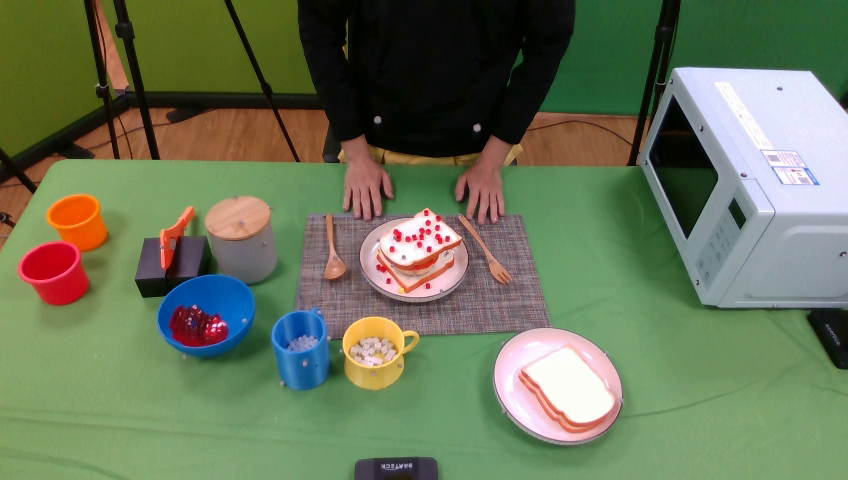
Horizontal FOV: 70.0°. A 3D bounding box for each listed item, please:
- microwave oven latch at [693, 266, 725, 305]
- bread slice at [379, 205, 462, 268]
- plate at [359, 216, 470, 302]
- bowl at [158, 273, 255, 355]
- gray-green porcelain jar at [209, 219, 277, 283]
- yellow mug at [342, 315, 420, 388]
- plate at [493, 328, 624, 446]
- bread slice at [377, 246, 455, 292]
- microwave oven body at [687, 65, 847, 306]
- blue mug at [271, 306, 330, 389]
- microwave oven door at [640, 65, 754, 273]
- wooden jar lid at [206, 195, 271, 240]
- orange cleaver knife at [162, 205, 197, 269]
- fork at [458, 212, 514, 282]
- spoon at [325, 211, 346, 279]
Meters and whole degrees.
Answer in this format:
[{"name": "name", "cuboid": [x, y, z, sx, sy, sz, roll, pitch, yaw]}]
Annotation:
[{"name": "microwave oven latch", "cuboid": [0.523, 0.081, 1.115, 0.030, 0.029, 0.078, 3, 46, 0]}, {"name": "bread slice", "cuboid": [-0.012, -0.001, 1.097, 0.134, 0.018, 0.106, -33, 51, -23]}, {"name": "plate", "cuboid": [-0.019, 0.038, 1.140, 0.209, 0.038, 0.208, 2, 46, -2]}, {"name": "bowl", "cuboid": [-0.351, 0.136, 1.001, 0.151, 0.077, 0.150, 2, 46, -2]}, {"name": "gray-green porcelain jar", "cuboid": [-0.323, 0.007, 1.092, 0.106, 0.127, 0.105, 2, 46, -2]}, {"name": "yellow mug", "cuboid": [-0.068, 0.177, 0.990, 0.131, 0.064, 0.099, -15, 50, -19]}, {"name": "plate", "cuboid": [0.213, 0.236, 0.974, 0.208, 0.039, 0.206, 2, 46, -2]}, {"name": "bread slice", "cuboid": [-0.010, 0.033, 1.150, 0.131, 0.019, 0.104, -28, 56, -24]}, {"name": "microwave oven body", "cuboid": [0.669, -0.111, 1.176, 0.326, 0.261, 0.439, 0, 46, -3]}, {"name": "blue mug", "cuboid": [-0.188, 0.163, 0.969, 0.082, 0.106, 0.116, 15, 47, 10]}, {"name": "microwave oven door", "cuboid": [0.523, -0.147, 1.193, 0.039, 0.245, 0.353, 0, 47, -3]}, {"name": "wooden jar lid", "cuboid": [-0.319, -0.036, 1.046, 0.108, 0.021, 0.107, 1, 44, -1]}, {"name": "orange cleaver knife", "cuboid": [-0.454, -0.010, 1.129, 0.012, 0.077, 0.210, -1, 20, -5]}, {"name": "fork", "cuboid": [0.116, 0.011, 1.188, 0.028, 0.019, 0.206, -22, 53, -13]}, {"name": "spoon", "cuboid": [-0.177, 0.006, 1.170, 0.041, 0.022, 0.192, -20, 48, 6]}]
